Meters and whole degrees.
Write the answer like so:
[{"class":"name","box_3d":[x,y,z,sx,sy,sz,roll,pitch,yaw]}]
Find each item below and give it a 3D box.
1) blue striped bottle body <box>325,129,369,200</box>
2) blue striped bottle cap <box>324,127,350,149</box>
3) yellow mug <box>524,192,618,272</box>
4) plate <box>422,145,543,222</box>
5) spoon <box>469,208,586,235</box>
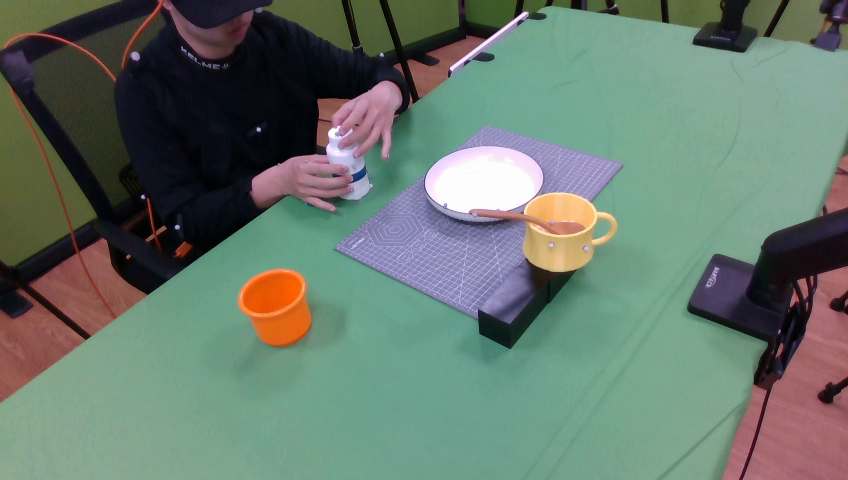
[{"class":"blue striped bottle body","box_3d":[-0.137,-0.136,1.071,0.063,0.121,0.063,-4,40,4]},{"class":"blue striped bottle cap","box_3d":[-0.147,-0.175,1.036,0.045,0.020,0.044,10,39,-7]},{"class":"yellow mug","box_3d":[0.206,-0.013,0.845,0.131,0.064,0.099,-4,40,2]},{"class":"plate","box_3d":[0.101,-0.094,1.048,0.207,0.039,0.206,-4,41,4]},{"class":"spoon","box_3d":[0.143,-0.026,0.817,0.195,0.021,0.041,12,35,-29]}]
